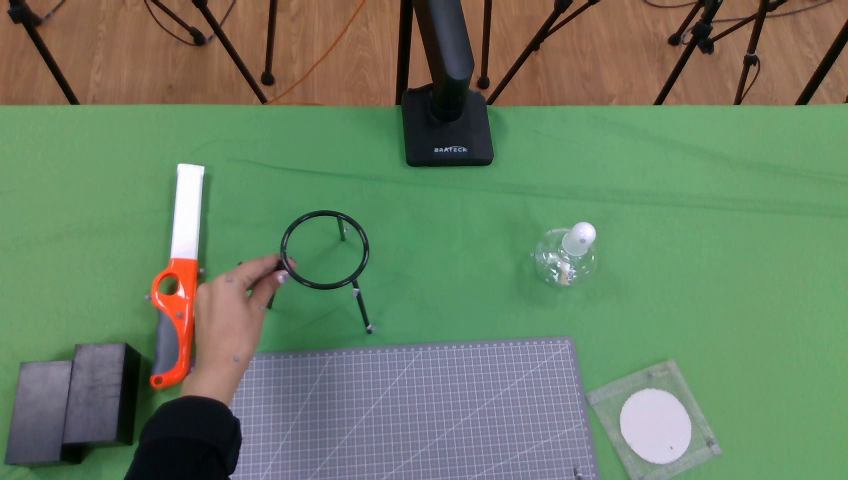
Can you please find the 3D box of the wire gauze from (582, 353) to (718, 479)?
[{"bbox_3d":[0.268,0.209,0.716,0.125,0.011,0.120,-19,70,-12],"label":"wire gauze"}]

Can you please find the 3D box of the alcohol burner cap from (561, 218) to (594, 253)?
[{"bbox_3d":[0.180,-0.008,0.701,0.034,0.048,0.033,1,71,-3],"label":"alcohol burner cap"}]

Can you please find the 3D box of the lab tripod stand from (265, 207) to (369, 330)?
[{"bbox_3d":[-0.111,0.029,0.676,0.148,0.132,0.147,3,64,-6],"label":"lab tripod stand"}]

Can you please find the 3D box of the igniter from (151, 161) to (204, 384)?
[{"bbox_3d":[-0.285,0.030,0.711,0.057,0.025,0.274,5,65,-21],"label":"igniter"}]

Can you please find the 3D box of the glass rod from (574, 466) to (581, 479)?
[{"bbox_3d":[0.179,0.345,0.641,0.008,0.008,0.198,-2,66,-8],"label":"glass rod"}]

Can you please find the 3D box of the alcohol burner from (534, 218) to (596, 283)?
[{"bbox_3d":[0.176,0.007,0.734,0.078,0.120,0.077,3,64,-5],"label":"alcohol burner"}]
